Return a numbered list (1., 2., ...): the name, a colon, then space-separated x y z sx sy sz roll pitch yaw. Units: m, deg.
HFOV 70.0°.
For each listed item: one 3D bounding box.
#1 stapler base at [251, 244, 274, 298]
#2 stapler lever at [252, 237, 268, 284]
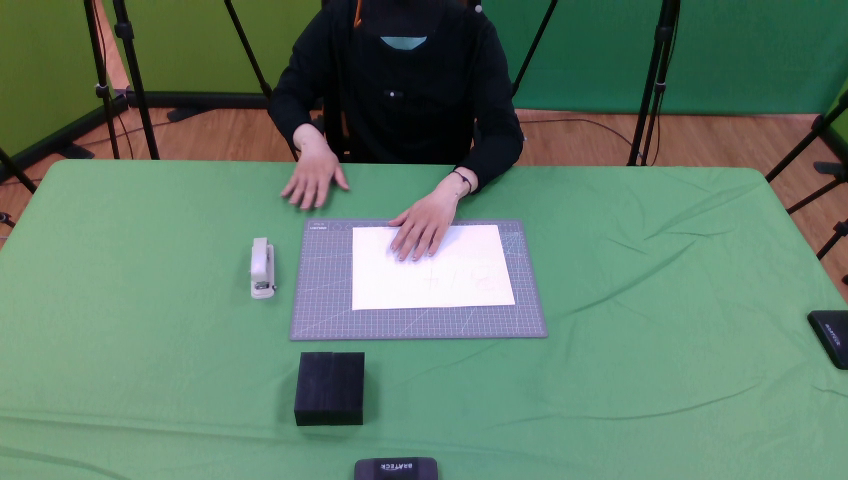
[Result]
1. stapler base: -0.300 0.050 1.124 0.041 0.024 0.129 -4 45 -11
2. stapler lever: -0.299 0.031 1.107 0.027 0.040 0.117 -4 45 -11
